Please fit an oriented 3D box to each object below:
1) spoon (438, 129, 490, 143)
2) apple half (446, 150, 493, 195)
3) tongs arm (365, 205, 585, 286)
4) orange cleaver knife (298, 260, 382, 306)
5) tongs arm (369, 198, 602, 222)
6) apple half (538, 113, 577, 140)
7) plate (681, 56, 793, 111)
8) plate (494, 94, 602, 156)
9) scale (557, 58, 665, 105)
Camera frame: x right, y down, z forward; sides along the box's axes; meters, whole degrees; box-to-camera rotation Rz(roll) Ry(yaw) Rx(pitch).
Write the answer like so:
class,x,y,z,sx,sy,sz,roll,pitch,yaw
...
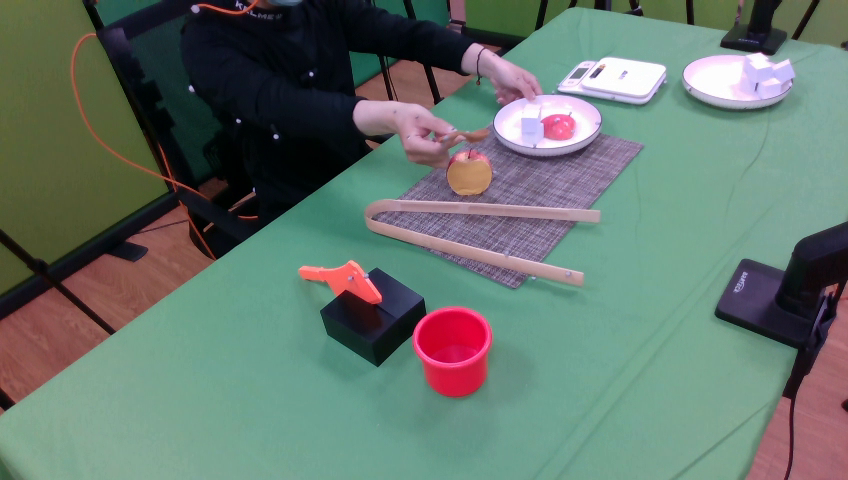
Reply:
class,x,y,z,sx,sy,sz,roll,pitch,yaw
spoon,0.058,-0.157,0.911,0.041,0.021,0.194,-6,6,25
apple half,0.080,-0.124,1.065,0.081,0.075,0.053,-6,36,7
tongs arm,0.066,0.004,0.950,0.382,0.026,0.051,13,45,23
orange cleaver knife,-0.125,0.063,0.876,0.012,0.077,0.210,-38,19,-30
tongs arm,0.097,-0.048,1.008,0.386,0.028,0.028,3,46,13
apple half,0.261,-0.228,1.178,0.081,0.033,0.081,-2,41,2
plate,0.636,-0.317,1.239,0.207,0.039,0.206,-4,40,4
plate,0.240,-0.221,1.181,0.209,0.038,0.208,-4,41,4
scale,0.407,-0.348,1.314,0.199,0.032,0.149,19,47,28
